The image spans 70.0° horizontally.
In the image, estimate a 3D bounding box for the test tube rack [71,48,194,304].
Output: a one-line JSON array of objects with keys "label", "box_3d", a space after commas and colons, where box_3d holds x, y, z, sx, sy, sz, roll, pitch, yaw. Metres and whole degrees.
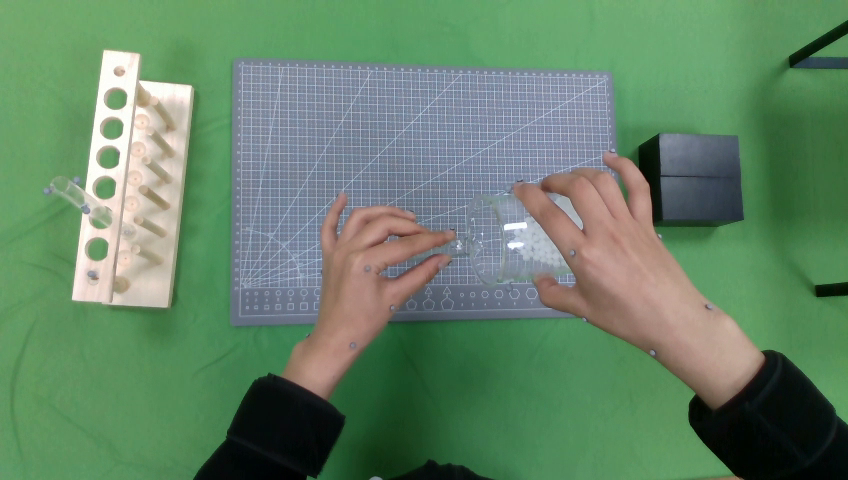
[{"label": "test tube rack", "box_3d": [-0.290, -0.059, 0.614, 0.067, 0.085, 0.241, 4, 83, -7]}]

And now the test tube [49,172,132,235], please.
[{"label": "test tube", "box_3d": [-0.302, -0.029, 0.559, 0.017, 0.150, 0.017, 1, 76, -6]}]

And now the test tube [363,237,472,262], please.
[{"label": "test tube", "box_3d": [-0.011, 0.010, 0.569, 0.017, 0.149, 0.017, 4, 83, -40]}]

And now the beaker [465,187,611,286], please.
[{"label": "beaker", "box_3d": [0.091, -0.005, 0.493, 0.100, 0.084, 0.074, -6, 85, -18]}]
